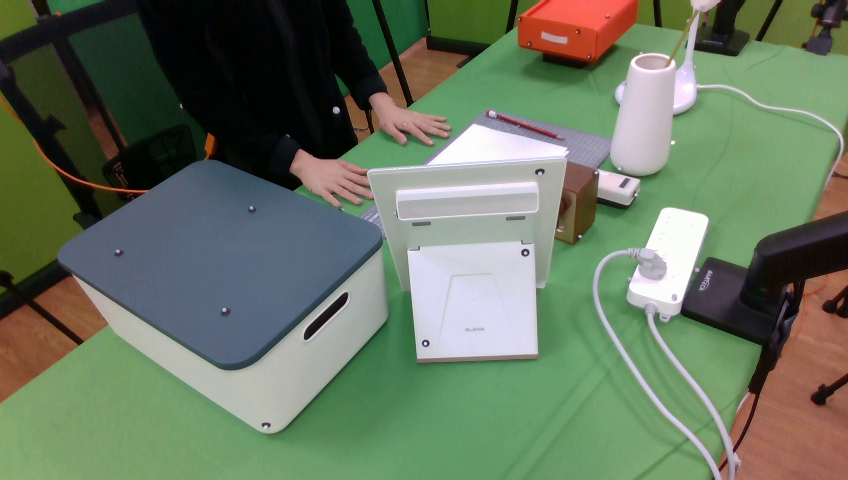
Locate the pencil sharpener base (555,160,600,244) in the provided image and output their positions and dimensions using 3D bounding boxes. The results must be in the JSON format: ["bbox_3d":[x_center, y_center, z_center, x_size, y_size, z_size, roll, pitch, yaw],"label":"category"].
[{"bbox_3d":[0.228,-0.057,0.945,0.061,0.107,0.077,24,50,31],"label":"pencil sharpener base"}]

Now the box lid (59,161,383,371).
[{"bbox_3d":[-0.262,0.010,0.777,0.369,0.015,0.264,21,48,29],"label":"box lid"}]

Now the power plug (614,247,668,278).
[{"bbox_3d":[0.306,0.031,0.851,0.072,0.053,0.035,24,49,33],"label":"power plug"}]

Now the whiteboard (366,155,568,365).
[{"bbox_3d":[0.059,0.050,0.738,0.217,0.307,0.143,-3,60,5],"label":"whiteboard"}]

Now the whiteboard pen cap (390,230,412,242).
[{"bbox_3d":[-0.036,-0.006,0.980,0.033,0.018,0.018,9,43,17],"label":"whiteboard pen cap"}]

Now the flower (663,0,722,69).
[{"bbox_3d":[0.379,-0.261,0.965,0.044,0.362,0.038,20,53,5],"label":"flower"}]

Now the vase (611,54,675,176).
[{"bbox_3d":[0.377,-0.209,1.031,0.098,0.201,0.097,-3,40,3],"label":"vase"}]

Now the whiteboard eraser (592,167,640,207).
[{"bbox_3d":[0.303,-0.091,1.024,0.112,0.042,0.056,21,49,28],"label":"whiteboard eraser"}]

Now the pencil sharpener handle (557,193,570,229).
[{"bbox_3d":[0.195,-0.038,0.908,0.035,0.068,0.031,24,50,30],"label":"pencil sharpener handle"}]

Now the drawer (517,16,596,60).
[{"bbox_3d":[0.353,-0.506,1.405,0.193,0.073,0.212,23,49,32],"label":"drawer"}]

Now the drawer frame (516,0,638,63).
[{"bbox_3d":[0.355,-0.508,1.411,0.200,0.083,0.214,23,51,32],"label":"drawer frame"}]

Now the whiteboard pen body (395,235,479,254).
[{"bbox_3d":[0.019,0.005,0.963,0.140,0.017,0.017,9,43,17],"label":"whiteboard pen body"}]

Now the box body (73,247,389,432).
[{"bbox_3d":[-0.255,0.065,0.827,0.361,0.161,0.255,21,48,29],"label":"box body"}]

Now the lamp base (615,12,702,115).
[{"bbox_3d":[0.484,-0.363,1.211,0.180,0.181,0.159,-15,41,-14],"label":"lamp base"}]

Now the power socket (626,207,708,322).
[{"bbox_3d":[0.359,0.026,0.886,0.072,0.033,0.227,16,46,26],"label":"power socket"}]

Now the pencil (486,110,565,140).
[{"bbox_3d":[0.204,-0.233,1.226,0.192,0.012,0.012,29,52,33],"label":"pencil"}]
